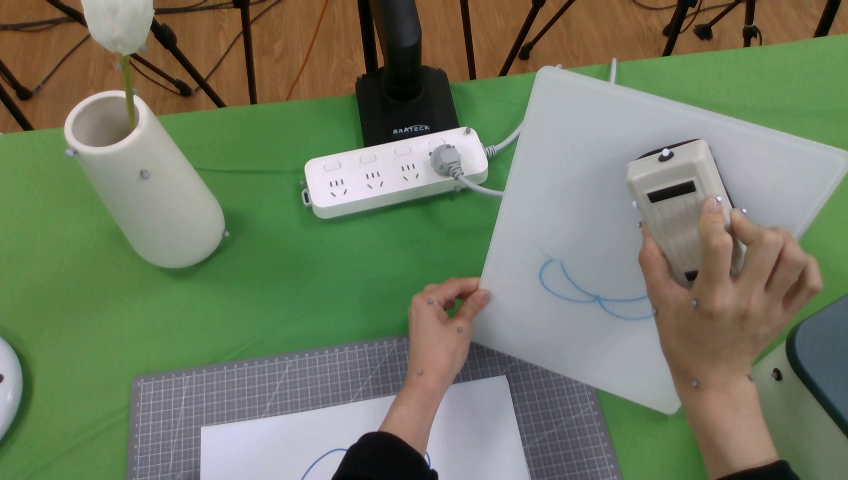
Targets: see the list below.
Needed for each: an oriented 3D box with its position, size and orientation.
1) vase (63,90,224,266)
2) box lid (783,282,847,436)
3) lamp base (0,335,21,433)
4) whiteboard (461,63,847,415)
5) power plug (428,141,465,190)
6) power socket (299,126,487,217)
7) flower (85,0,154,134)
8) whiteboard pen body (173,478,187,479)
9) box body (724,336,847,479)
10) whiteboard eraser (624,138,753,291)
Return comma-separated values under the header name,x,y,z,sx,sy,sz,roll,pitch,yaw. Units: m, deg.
name,x,y,z,sx,sy,sz,roll,pitch,yaw
vase,-0.269,-0.053,0.594,0.098,0.201,0.097,0,61,1
box lid,0.468,0.160,0.426,0.263,0.015,0.368,-25,65,-13
lamp base,-0.480,0.111,0.511,0.178,0.182,0.160,21,63,14
whiteboard,0.183,-0.016,0.556,0.216,0.308,0.143,20,42,10
power plug,0.024,-0.078,0.682,0.035,0.053,0.072,-4,68,-3
power socket,-0.034,-0.081,0.708,0.227,0.033,0.071,-13,63,-8
flower,-0.248,-0.088,0.520,0.038,0.362,0.044,39,58,0
whiteboard pen body,-0.217,0.276,0.512,0.017,0.017,0.139,-1,63,-1
box body,0.468,0.198,0.491,0.254,0.161,0.360,-25,65,-14
whiteboard eraser,0.191,-0.017,0.435,0.055,0.113,0.041,-19,27,33
